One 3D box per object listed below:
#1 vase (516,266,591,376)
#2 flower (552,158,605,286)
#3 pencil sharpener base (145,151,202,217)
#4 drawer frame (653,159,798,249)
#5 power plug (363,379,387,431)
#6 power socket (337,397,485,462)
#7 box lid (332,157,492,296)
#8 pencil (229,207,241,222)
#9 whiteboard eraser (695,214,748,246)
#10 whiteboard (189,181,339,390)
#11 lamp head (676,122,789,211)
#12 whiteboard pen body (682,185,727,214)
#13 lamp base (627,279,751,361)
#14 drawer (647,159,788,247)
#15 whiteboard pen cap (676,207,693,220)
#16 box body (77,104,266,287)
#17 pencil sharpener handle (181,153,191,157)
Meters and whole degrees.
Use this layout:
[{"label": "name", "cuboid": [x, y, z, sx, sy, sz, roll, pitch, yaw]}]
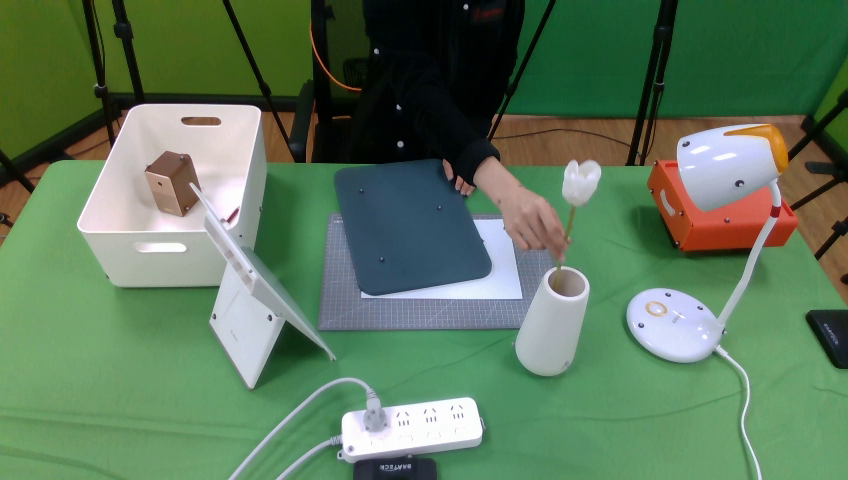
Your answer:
[{"label": "vase", "cuboid": [0.208, 0.132, 0.964, 0.098, 0.201, 0.097, 3, 46, -3]}, {"label": "flower", "cuboid": [0.200, 0.017, 0.866, 0.044, 0.363, 0.038, -18, 56, -11]}, {"label": "pencil sharpener base", "cuboid": [-0.491, -0.112, 1.199, 0.061, 0.107, 0.076, 15, 47, 12]}, {"label": "drawer frame", "cuboid": [0.588, -0.077, 1.219, 0.214, 0.083, 0.200, -2, 45, -5]}, {"label": "power plug", "cuboid": [-0.072, 0.252, 0.910, 0.035, 0.053, 0.072, 3, 44, -1]}, {"label": "power socket", "cuboid": [-0.018, 0.285, 0.915, 0.227, 0.033, 0.071, -5, 46, -8]}, {"label": "box lid", "cuboid": [-0.035, -0.041, 1.241, 0.264, 0.015, 0.369, -9, 47, -12]}, {"label": "pencil", "cuboid": [-0.401, -0.008, 1.176, 0.012, 0.012, 0.193, 15, 44, 10]}, {"label": "whiteboard eraser", "cuboid": [0.592, -0.019, 1.209, 0.113, 0.042, 0.055, 12, 27, -36]}, {"label": "whiteboard", "cuboid": [-0.292, 0.096, 0.929, 0.144, 0.307, 0.216, -37, 57, -10]}, {"label": "lamp head", "cuboid": [0.423, -0.104, 0.819, 0.122, 0.113, 0.112, -13, 33, 40]}, {"label": "whiteboard pen body", "cuboid": [0.572, -0.081, 1.237, 0.141, 0.017, 0.017, -26, 54, -24]}, {"label": "lamp base", "cuboid": [0.460, 0.100, 1.027, 0.178, 0.181, 0.160, 27, 51, 17]}, {"label": "drawer", "cuboid": [0.582, -0.079, 1.214, 0.212, 0.073, 0.193, -1, 45, -5]}, {"label": "whiteboard pen cap", "cuboid": [0.524, -0.053, 1.216, 0.033, 0.018, 0.018, -28, 54, -23]}, {"label": "box body", "cuboid": [-0.446, -0.088, 1.150, 0.254, 0.161, 0.361, -1, 46, -5]}, {"label": "pencil sharpener handle", "cuboid": [-0.477, -0.155, 1.225, 0.036, 0.068, 0.030, 23, 48, 3]}]
